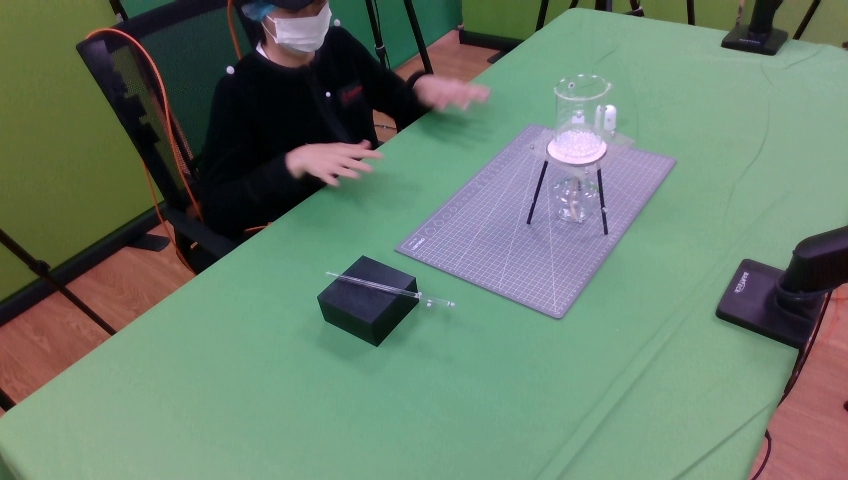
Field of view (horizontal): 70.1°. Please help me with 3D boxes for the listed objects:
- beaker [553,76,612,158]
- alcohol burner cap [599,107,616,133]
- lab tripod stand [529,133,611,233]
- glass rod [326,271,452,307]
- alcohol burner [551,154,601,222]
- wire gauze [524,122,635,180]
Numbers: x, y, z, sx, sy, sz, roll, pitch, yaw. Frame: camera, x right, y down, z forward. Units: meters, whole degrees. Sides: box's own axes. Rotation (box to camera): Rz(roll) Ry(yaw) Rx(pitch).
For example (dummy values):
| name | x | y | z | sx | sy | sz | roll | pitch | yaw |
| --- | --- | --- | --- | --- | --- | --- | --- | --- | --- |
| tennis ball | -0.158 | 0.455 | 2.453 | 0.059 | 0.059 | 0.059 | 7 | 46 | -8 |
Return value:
| name | x | y | z | sx | sy | sz | roll | pitch | yaw |
| --- | --- | --- | --- | --- | --- | --- | --- | --- | --- |
| beaker | 0.230 | -0.178 | 0.882 | 0.084 | 0.101 | 0.073 | -9 | 41 | 1 |
| alcohol burner cap | 0.361 | -0.239 | 1.189 | 0.034 | 0.048 | 0.033 | -4 | 40 | 4 |
| lab tripod stand | 0.236 | -0.089 | 0.953 | 0.148 | 0.132 | 0.147 | -5 | 41 | 5 |
| glass rod | -0.053 | 0.068 | 0.839 | 0.198 | 0.008 | 0.008 | 12 | 44 | 23 |
| alcohol burner | 0.244 | -0.088 | 0.966 | 0.078 | 0.119 | 0.077 | -3 | 40 | 3 |
| wire gauze | 0.233 | -0.142 | 0.913 | 0.122 | 0.011 | 0.124 | -31 | 42 | -26 |
